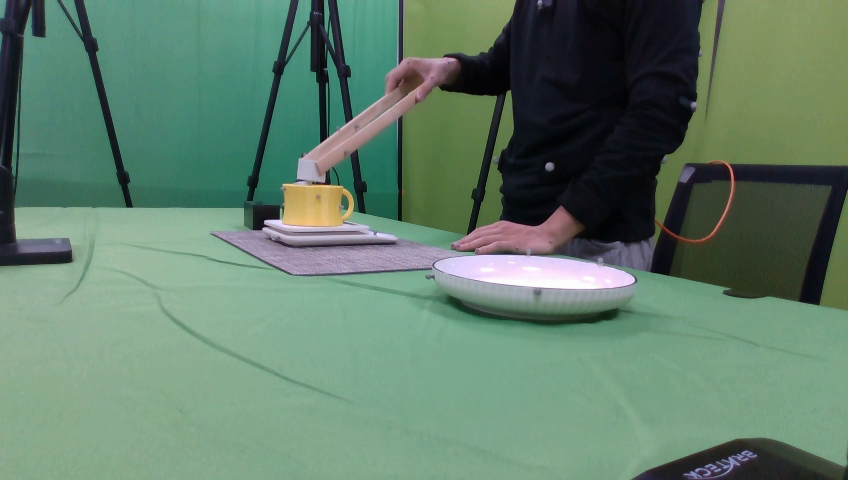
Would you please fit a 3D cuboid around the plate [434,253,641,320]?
[{"bbox_3d":[0.114,0.047,0.626,0.208,0.039,0.207,2,7,0],"label":"plate"}]

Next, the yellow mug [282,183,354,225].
[{"bbox_3d":[-0.172,-0.061,1.009,0.131,0.064,0.099,-2,7,-41],"label":"yellow mug"}]

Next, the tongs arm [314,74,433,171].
[{"bbox_3d":[-0.078,-0.226,1.112,0.028,0.028,0.388,2,34,35],"label":"tongs arm"}]

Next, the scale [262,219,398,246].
[{"bbox_3d":[-0.160,-0.016,1.028,0.202,0.031,0.148,-2,8,-31],"label":"scale"}]

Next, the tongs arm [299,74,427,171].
[{"bbox_3d":[-0.098,-0.228,1.125,0.050,0.026,0.385,3,34,30],"label":"tongs arm"}]
